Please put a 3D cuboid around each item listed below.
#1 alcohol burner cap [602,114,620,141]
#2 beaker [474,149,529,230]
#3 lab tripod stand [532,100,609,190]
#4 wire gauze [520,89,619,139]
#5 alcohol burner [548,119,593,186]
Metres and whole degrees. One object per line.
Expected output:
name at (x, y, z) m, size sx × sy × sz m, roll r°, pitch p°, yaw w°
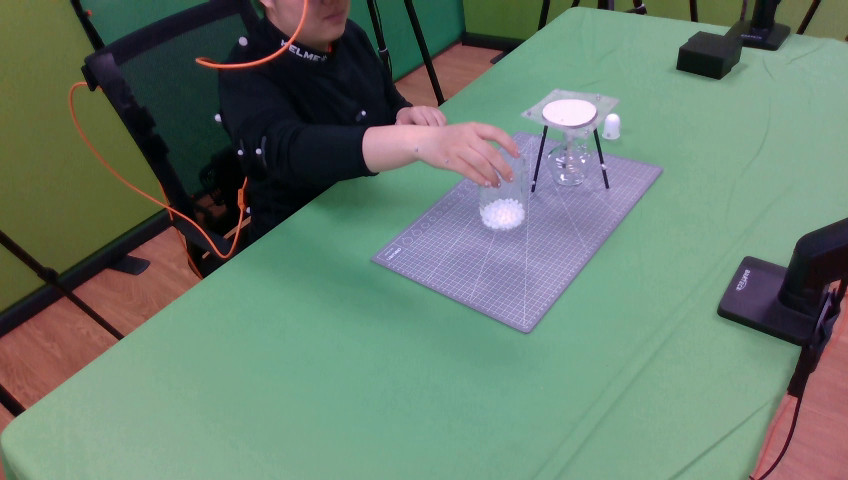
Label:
alcohol burner cap at (0.359, -0.217, 1.157) m, size 0.034 × 0.048 × 0.033 m, roll -7°, pitch 40°, yaw 6°
beaker at (0.112, -0.072, 0.882) m, size 0.074 × 0.101 × 0.083 m, roll -28°, pitch 40°, yaw -24°
lab tripod stand at (0.251, -0.161, 1.034) m, size 0.148 × 0.132 × 0.147 m, roll -4°, pitch 39°, yaw 4°
wire gauze at (0.239, -0.213, 0.994) m, size 0.124 × 0.011 × 0.122 m, roll 24°, pitch 49°, yaw 32°
alcohol burner at (0.252, -0.154, 1.042) m, size 0.078 × 0.120 × 0.077 m, roll -7°, pitch 40°, yaw 7°
